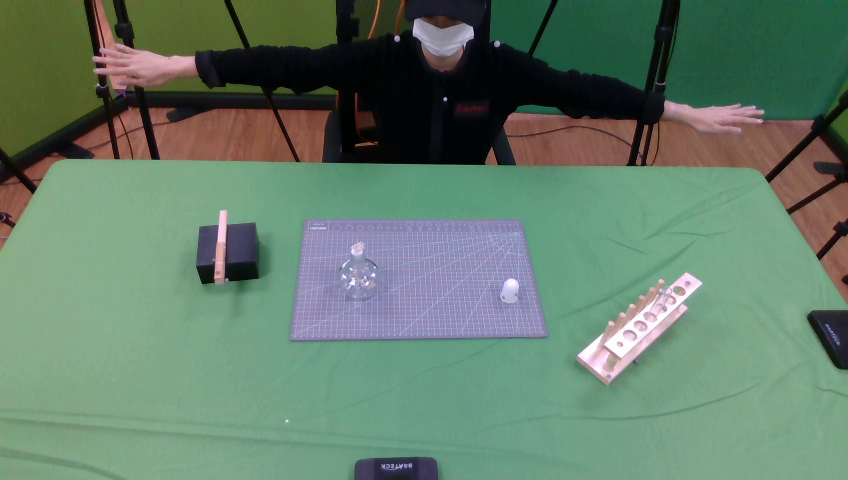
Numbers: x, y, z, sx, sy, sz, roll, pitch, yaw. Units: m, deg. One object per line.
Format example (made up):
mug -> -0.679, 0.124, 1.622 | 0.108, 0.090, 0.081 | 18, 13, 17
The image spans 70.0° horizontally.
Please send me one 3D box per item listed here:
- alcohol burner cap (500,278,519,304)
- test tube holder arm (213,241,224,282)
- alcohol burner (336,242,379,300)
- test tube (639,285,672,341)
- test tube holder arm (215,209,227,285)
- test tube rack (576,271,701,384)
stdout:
alcohol burner cap -> 0.157, 0.090, 1.104 | 0.034, 0.048, 0.033 | 2, 46, -2
test tube holder arm -> -0.359, 0.037, 1.061 | 0.015, 0.010, 0.087 | -6, 47, -9
alcohol burner -> -0.118, 0.050, 1.072 | 0.078, 0.120, 0.077 | 2, 44, -1
test tube -> 0.374, 0.123, 0.994 | 0.017, 0.151, 0.017 | 1, 50, -1
test tube holder arm -> -0.367, 0.008, 1.095 | 0.015, 0.013, 0.177 | -6, 48, -9
test tube rack -> 0.373, 0.138, 1.047 | 0.242, 0.085, 0.066 | -31, 56, -29
